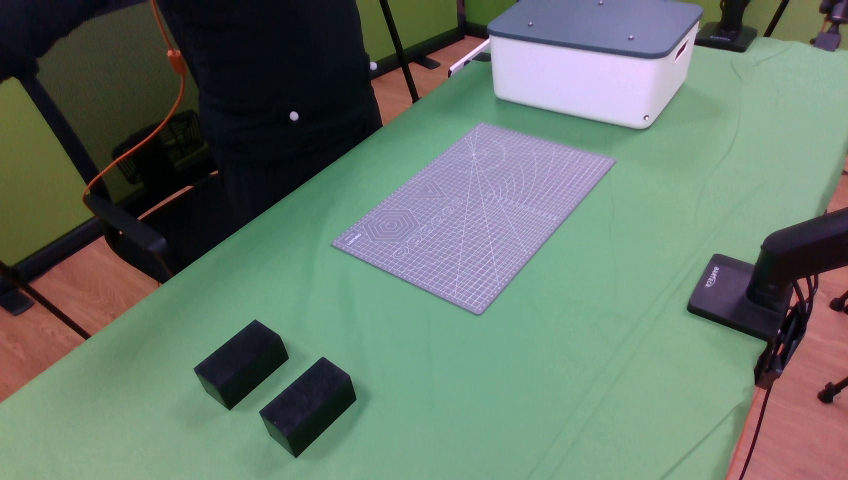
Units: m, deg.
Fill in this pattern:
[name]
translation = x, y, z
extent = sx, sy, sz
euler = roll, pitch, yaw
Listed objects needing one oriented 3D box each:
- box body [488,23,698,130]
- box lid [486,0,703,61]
[box body]
translation = 0.345, -0.379, 1.257
extent = 0.361, 0.161, 0.255
euler = 20, 48, 29
[box lid]
translation = 0.338, -0.435, 1.208
extent = 0.369, 0.015, 0.264
euler = 20, 47, 29
